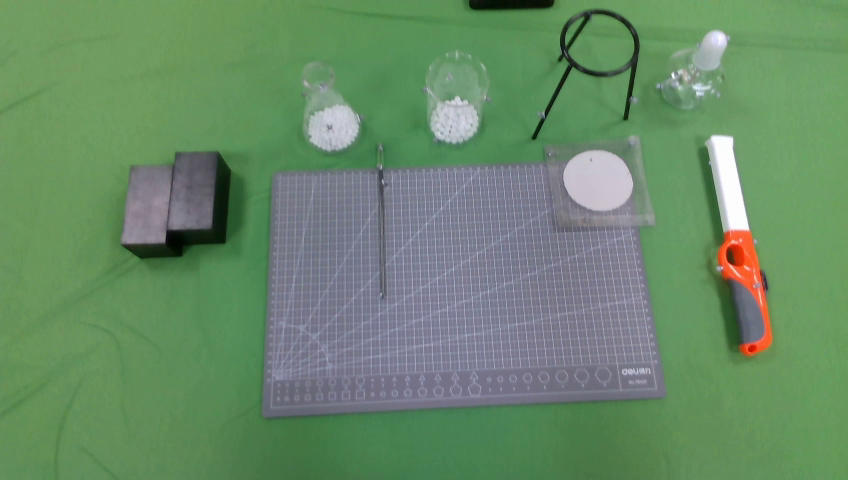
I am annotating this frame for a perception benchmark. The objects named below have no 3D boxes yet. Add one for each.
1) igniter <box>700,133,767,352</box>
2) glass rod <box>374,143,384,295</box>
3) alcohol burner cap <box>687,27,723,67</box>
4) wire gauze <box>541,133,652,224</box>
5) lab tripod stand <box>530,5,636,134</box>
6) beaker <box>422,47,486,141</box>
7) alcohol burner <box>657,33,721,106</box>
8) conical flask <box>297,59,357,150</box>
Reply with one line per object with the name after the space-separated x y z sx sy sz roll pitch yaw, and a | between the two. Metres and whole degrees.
0.373 -0.003 0.732 0.057 0.025 0.274 3 71 -10 | igniter
-0.055 -0.030 0.740 0.008 0.008 0.198 -3 71 -2 | glass rod
0.339 -0.235 0.726 0.034 0.048 0.033 -2 68 4 | alcohol burner cap
0.216 -0.077 0.762 0.125 0.011 0.120 -3 72 -2 | wire gauze
0.192 -0.204 0.741 0.148 0.132 0.147 0 73 -1 | lab tripod stand
0.034 -0.176 0.747 0.074 0.101 0.083 0 70 -1 | beaker
0.340 -0.221 0.759 0.078 0.120 0.077 0 73 1 | alcohol burner
-0.123 -0.167 0.729 0.075 0.122 0.075 0 71 0 | conical flask
